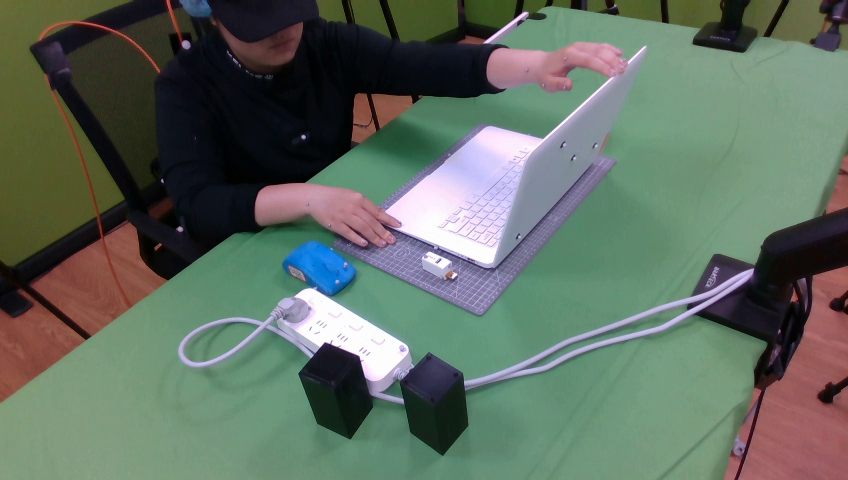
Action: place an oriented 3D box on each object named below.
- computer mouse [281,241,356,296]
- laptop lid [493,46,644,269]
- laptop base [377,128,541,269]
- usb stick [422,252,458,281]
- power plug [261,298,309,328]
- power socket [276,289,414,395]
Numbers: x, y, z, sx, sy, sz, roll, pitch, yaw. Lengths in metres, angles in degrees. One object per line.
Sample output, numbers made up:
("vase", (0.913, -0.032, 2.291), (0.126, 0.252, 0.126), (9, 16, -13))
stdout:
("computer mouse", (-0.164, 0.041, 0.934), (0.116, 0.041, 0.063), (27, 48, 28))
("laptop lid", (0.221, -0.126, 0.910), (0.013, 0.242, 0.358), (33, 52, 20))
("laptop base", (0.116, -0.088, 1.058), (0.233, 0.023, 0.355), (20, 47, 33))
("usb stick", (0.025, 0.042, 0.908), (0.058, 0.027, 0.021), (27, 47, 32))
("power plug", (-0.192, 0.107, 0.830), (0.073, 0.053, 0.035), (-32, 43, -26))
("power socket", (-0.114, 0.133, 0.821), (0.225, 0.033, 0.072), (26, 49, 33))
